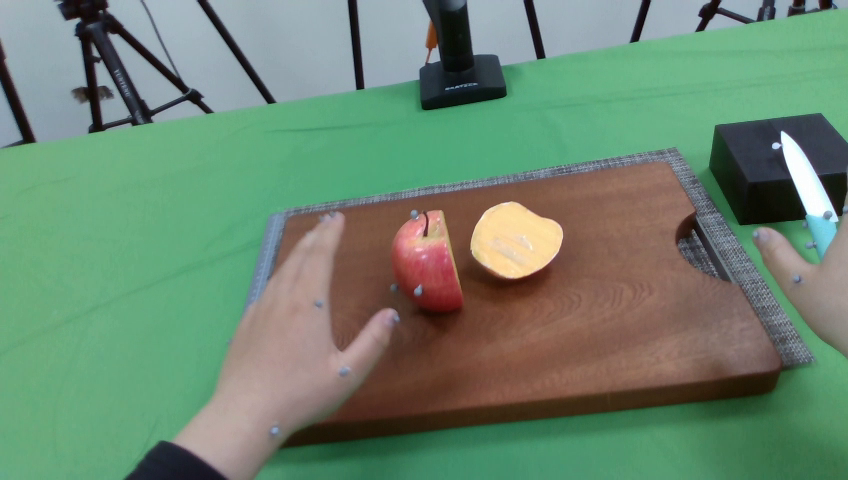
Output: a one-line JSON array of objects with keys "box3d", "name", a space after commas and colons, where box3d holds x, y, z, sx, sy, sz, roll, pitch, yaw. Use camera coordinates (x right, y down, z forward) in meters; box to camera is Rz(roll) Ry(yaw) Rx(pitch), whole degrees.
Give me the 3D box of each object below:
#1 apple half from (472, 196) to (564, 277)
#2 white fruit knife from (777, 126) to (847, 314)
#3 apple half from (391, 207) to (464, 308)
[{"box3d": [0.080, 0.004, 0.531, 0.081, 0.033, 0.080, -4, 56, 7], "name": "apple half"}, {"box3d": [0.333, -0.018, 0.505, 0.027, 0.016, 0.205, -6, 57, 7], "name": "white fruit knife"}, {"box3d": [0.001, 0.018, 0.503, 0.053, 0.075, 0.080, -15, 43, 4], "name": "apple half"}]
